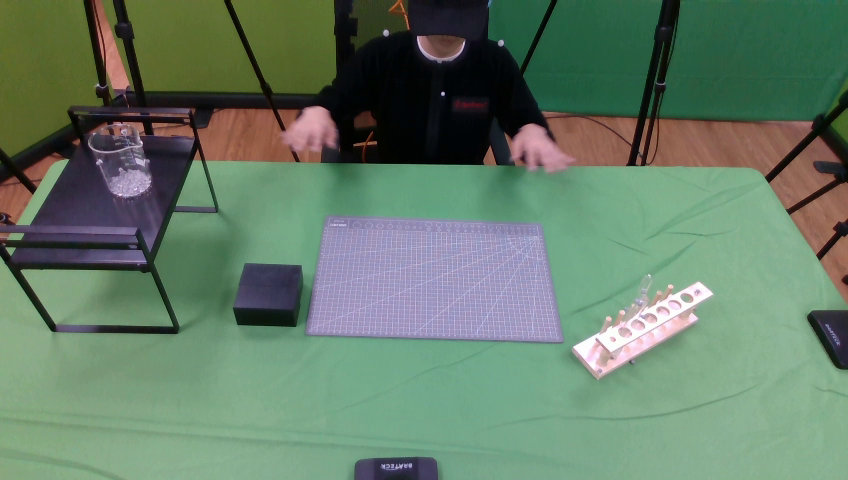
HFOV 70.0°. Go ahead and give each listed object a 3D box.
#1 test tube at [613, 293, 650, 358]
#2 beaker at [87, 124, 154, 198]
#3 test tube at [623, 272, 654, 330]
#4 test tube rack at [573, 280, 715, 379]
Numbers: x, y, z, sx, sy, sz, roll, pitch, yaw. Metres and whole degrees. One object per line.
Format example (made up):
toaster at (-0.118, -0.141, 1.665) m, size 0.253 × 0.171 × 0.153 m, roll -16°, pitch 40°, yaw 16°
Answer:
test tube at (0.329, 0.140, 0.966) m, size 0.017 × 0.151 × 0.017 m, roll 4°, pitch 43°, yaw -3°
beaker at (-0.482, -0.124, 0.978) m, size 0.084 × 0.101 × 0.073 m, roll 9°, pitch 46°, yaw 4°
test tube at (0.356, 0.104, 1.010) m, size 0.017 × 0.151 × 0.017 m, roll 1°, pitch 46°, yaw -1°
test tube rack at (0.378, 0.140, 1.038) m, size 0.242 × 0.085 × 0.066 m, roll -22°, pitch 51°, yaw -23°
